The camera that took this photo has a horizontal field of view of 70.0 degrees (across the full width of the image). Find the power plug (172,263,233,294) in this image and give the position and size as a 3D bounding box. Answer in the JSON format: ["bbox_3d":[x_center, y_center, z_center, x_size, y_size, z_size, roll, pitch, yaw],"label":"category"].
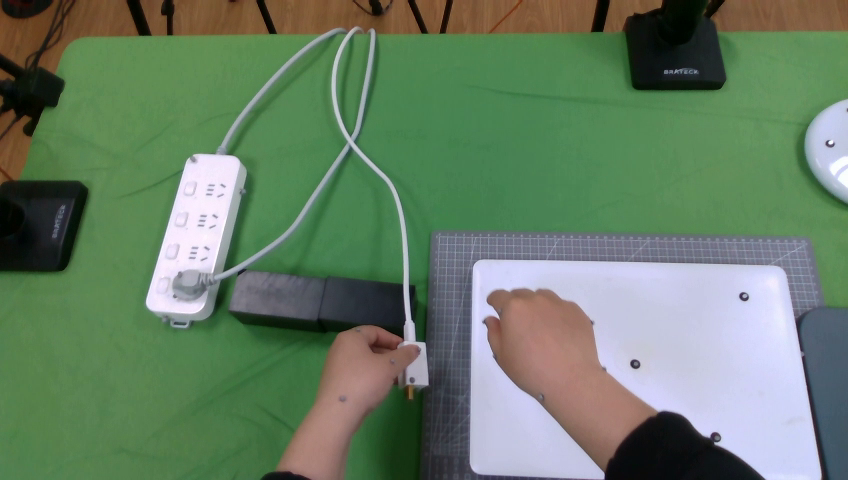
[{"bbox_3d":[-0.250,0.049,0.688,0.072,0.053,0.035,15,68,7],"label":"power plug"}]

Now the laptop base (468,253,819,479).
[{"bbox_3d":[0.227,0.130,0.662,0.354,0.023,0.234,1,71,3],"label":"laptop base"}]

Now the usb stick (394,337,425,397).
[{"bbox_3d":[-0.015,0.129,0.610,0.027,0.021,0.059,16,66,-30],"label":"usb stick"}]

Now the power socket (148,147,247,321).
[{"bbox_3d":[-0.272,-0.015,0.737,0.072,0.033,0.225,4,67,4],"label":"power socket"}]

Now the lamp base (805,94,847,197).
[{"bbox_3d":[0.556,-0.152,0.678,0.160,0.181,0.179,33,70,15],"label":"lamp base"}]

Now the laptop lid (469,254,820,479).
[{"bbox_3d":[0.226,0.128,0.650,0.356,0.013,0.240,3,70,4],"label":"laptop lid"}]

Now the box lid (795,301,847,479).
[{"bbox_3d":[0.535,0.237,0.607,0.263,0.015,0.368,1,68,2],"label":"box lid"}]
